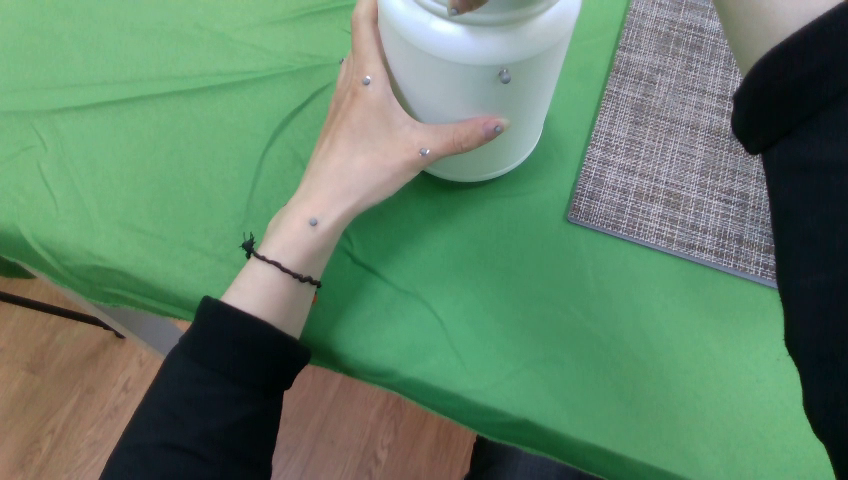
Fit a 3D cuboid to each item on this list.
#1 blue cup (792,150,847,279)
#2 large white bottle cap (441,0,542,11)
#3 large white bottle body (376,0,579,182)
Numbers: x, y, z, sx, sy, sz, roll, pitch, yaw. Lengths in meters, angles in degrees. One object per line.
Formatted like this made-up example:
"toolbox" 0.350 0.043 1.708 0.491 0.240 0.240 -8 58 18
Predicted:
"blue cup" 0.309 -0.019 0.416 0.092 0.101 0.092 0 63 0
"large white bottle cap" 0.035 -0.179 0.346 0.115 0.018 0.114 1 65 -2
"large white bottle body" 0.033 -0.140 0.424 0.131 0.186 0.129 1 64 -1
